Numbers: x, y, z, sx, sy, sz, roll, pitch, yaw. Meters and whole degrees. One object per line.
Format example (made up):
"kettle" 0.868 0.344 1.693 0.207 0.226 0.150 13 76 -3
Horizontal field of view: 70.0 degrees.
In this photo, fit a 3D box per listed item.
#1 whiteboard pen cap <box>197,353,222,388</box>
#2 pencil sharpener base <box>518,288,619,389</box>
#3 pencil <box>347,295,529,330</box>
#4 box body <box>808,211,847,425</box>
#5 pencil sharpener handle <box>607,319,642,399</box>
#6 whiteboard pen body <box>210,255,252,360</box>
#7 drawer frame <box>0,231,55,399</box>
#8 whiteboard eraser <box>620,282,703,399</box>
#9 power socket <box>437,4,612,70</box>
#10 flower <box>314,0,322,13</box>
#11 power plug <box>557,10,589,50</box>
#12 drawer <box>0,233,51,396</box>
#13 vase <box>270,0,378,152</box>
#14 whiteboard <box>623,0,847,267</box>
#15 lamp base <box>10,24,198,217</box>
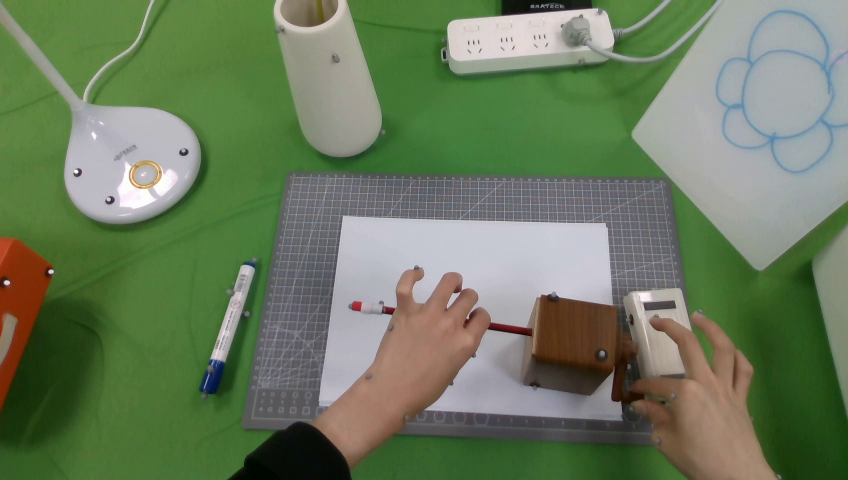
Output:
"whiteboard pen cap" -0.215 0.130 0.609 0.018 0.018 0.033 6 59 6
"pencil sharpener base" 0.133 0.095 0.568 0.076 0.108 0.061 8 65 6
"pencil" 0.026 0.068 0.552 0.194 0.012 0.012 8 65 2
"box body" 0.515 0.128 0.510 0.254 0.161 0.361 1 65 3
"pencil sharpener handle" 0.180 0.105 0.536 0.030 0.036 0.067 8 83 6
"whiteboard pen body" -0.205 0.080 0.638 0.017 0.017 0.139 5 61 5
"drawer frame" -0.501 0.088 0.566 0.213 0.083 0.200 5 66 2
"whiteboard eraser" 0.232 0.098 0.599 0.055 0.042 0.111 -4 64 -1
"power socket" 0.130 -0.262 0.782 0.227 0.033 0.071 -4 65 0
"flower" -0.105 -0.236 0.595 0.038 0.365 0.043 -10 46 -10
"power plug" 0.182 -0.250 0.748 0.035 0.053 0.072 5 66 5
"drawer" -0.495 0.085 0.564 0.211 0.074 0.193 4 66 4
"vase" -0.108 -0.184 0.662 0.098 0.201 0.097 -1 64 3
"whiteboard" 0.389 -0.158 0.606 0.144 0.307 0.215 -20 63 -28
"lamp base" -0.365 -0.138 0.660 0.178 0.182 0.160 32 69 19
